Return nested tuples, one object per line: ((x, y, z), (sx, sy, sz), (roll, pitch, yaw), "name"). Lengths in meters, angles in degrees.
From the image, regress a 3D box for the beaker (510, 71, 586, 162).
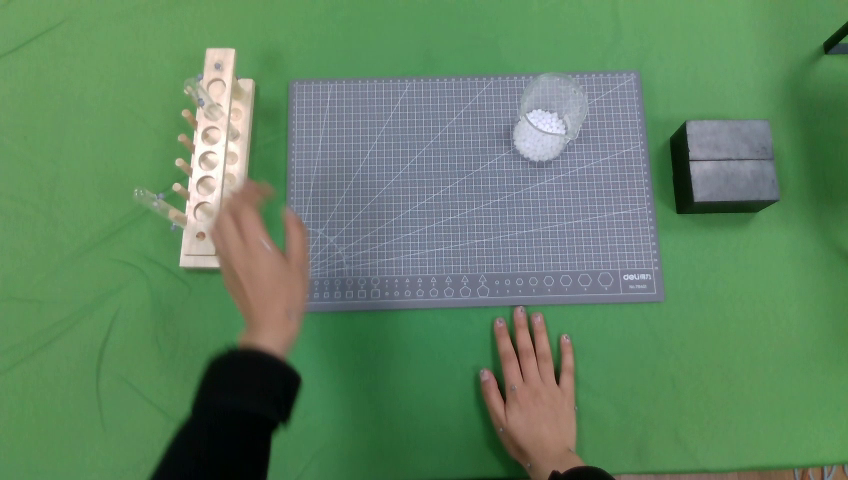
((0.143, -0.137, 0.713), (0.074, 0.100, 0.083), (-30, 79, -6), "beaker")

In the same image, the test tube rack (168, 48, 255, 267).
((-0.253, -0.095, 0.712), (0.067, 0.085, 0.241), (1, 77, 0), "test tube rack")

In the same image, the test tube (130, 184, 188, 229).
((-0.276, -0.033, 0.652), (0.017, 0.151, 0.017), (0, 78, 0), "test tube")

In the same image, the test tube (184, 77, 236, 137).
((-0.234, -0.144, 0.673), (0.017, 0.150, 0.017), (0, 81, -3), "test tube")
